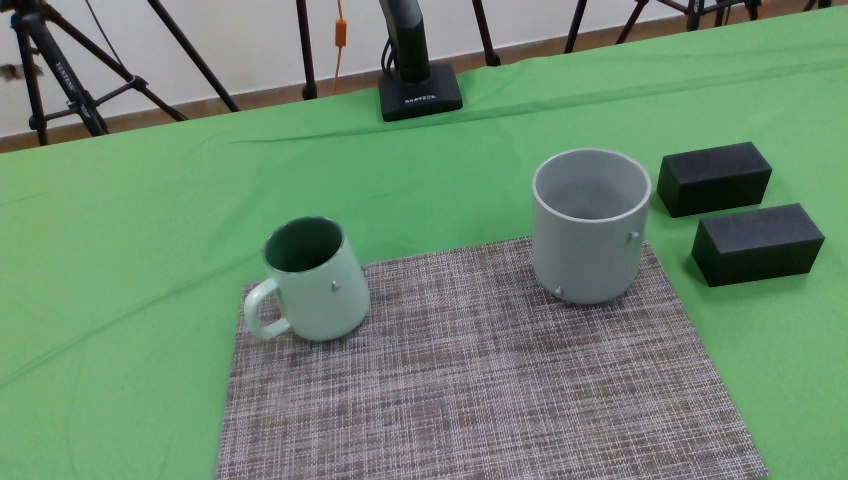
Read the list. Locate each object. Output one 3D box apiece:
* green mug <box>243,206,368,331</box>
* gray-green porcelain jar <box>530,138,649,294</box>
[{"bbox_3d":[-0.120,0.040,0.599,0.091,0.106,0.125,33,60,33],"label":"green mug"},{"bbox_3d":[0.156,-0.018,0.590,0.106,0.128,0.105,-5,46,6],"label":"gray-green porcelain jar"}]
